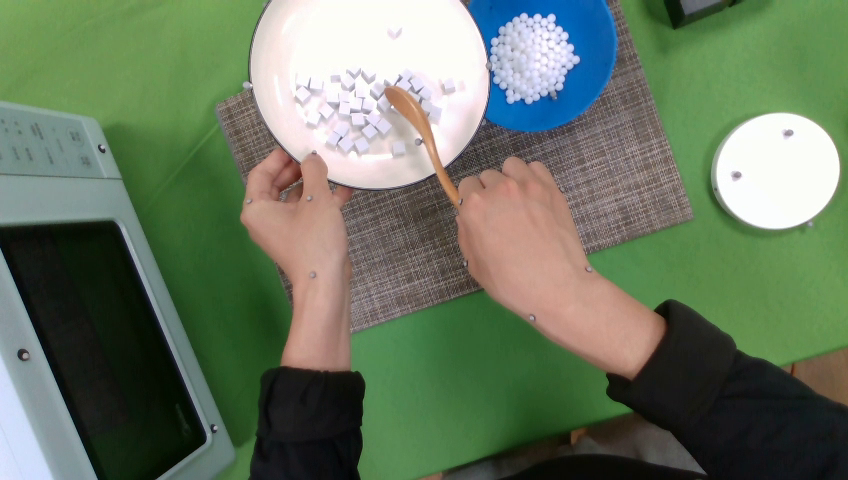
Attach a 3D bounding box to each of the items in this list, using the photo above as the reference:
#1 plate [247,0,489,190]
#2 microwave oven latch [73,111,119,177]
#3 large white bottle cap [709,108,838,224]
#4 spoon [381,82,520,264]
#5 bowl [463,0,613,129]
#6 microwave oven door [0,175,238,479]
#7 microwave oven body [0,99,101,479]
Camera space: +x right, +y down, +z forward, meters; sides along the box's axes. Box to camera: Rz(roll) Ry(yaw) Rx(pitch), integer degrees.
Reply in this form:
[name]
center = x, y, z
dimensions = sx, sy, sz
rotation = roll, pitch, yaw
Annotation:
[plate]
center = -0.047, -0.145, 0.538
dimensions = 0.210, 0.038, 0.208
rotation = 1, 86, -10
[microwave oven latch]
center = -0.384, -0.106, 0.696
dimensions = 0.030, 0.029, 0.079
rotation = -22, 92, 11
[large white bottle cap]
center = 0.345, -0.072, 0.600
dimensions = 0.114, 0.018, 0.115
rotation = 1, 95, 9
[spoon]
center = 0.019, -0.057, 0.500
dimensions = 0.042, 0.022, 0.192
rotation = -50, 63, 40
[bowl]
center = 0.105, -0.182, 0.597
dimensions = 0.151, 0.077, 0.151
rotation = 1, 96, 10
[microwave oven door]
center = -0.322, 0.105, 0.602
dimensions = 0.039, 0.244, 0.355
rotation = -23, 91, 11
[microwave oven body]
center = -0.470, 0.119, 0.634
dimensions = 0.326, 0.260, 0.441
rotation = -22, 92, 11
